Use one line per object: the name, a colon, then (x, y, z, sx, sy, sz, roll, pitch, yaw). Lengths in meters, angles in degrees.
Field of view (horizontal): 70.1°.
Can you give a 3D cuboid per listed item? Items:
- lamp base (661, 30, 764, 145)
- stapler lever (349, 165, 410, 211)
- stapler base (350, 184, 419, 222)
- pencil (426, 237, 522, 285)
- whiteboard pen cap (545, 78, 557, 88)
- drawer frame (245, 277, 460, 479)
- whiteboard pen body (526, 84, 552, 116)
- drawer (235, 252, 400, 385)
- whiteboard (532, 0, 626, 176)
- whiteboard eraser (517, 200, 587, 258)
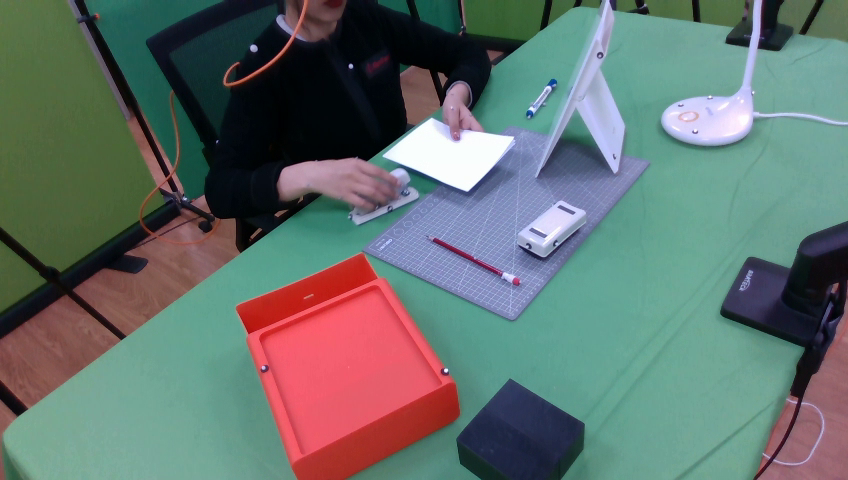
lamp base: (0.535, -0.287, 1.096, 0.179, 0.181, 0.159, -10, 40, -4)
stapler lever: (-0.078, -0.093, 1.062, 0.118, 0.040, 0.026, -29, 36, -17)
stapler base: (-0.071, -0.073, 1.078, 0.131, 0.024, 0.041, -27, 36, -18)
pencil: (0.072, 0.028, 0.941, 0.192, 0.012, 0.012, 26, 52, 37)
whiteboard pen cap: (0.280, -0.344, 1.335, 0.018, 0.018, 0.033, 15, 44, 26)
drawer frame: (-0.093, 0.167, 0.755, 0.202, 0.083, 0.211, -23, 43, -17)
whiteboard pen body: (0.251, -0.305, 1.298, 0.017, 0.017, 0.141, 15, 45, 26)
drawer: (-0.125, 0.132, 0.804, 0.195, 0.073, 0.210, -23, 42, -17)
whiteboard: (0.321, -0.258, 1.050, 0.144, 0.306, 0.217, 22, 45, 5)
whiteboard eraser: (0.201, -0.016, 0.943, 0.113, 0.042, 0.055, -37, 46, -29)
